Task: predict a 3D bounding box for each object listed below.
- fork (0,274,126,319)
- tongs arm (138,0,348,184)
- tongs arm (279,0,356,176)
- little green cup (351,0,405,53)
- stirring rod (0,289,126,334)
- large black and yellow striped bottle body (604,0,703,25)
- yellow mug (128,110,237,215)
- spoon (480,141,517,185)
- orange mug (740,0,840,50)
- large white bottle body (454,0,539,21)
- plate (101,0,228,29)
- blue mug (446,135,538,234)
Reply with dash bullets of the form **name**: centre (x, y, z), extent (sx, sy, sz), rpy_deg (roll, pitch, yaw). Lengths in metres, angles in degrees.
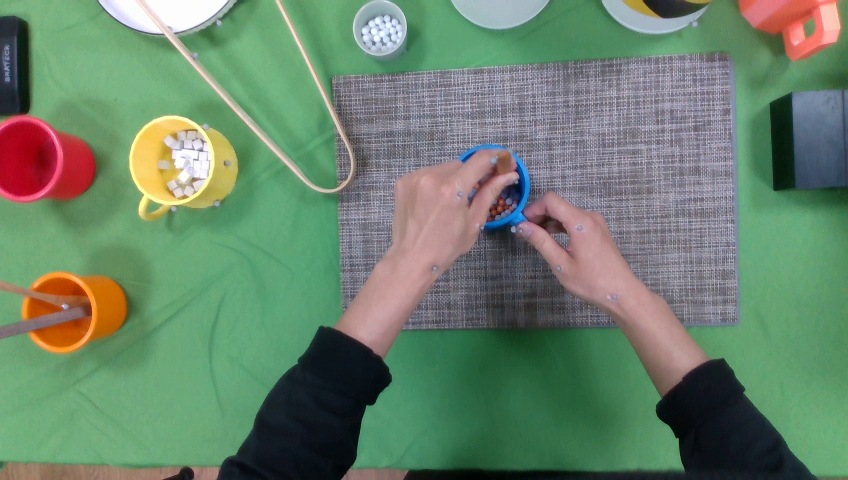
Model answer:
- **fork**: centre (-0.443, 0.052, 0.680), extent (0.209, 0.018, 0.028), rpy_deg (26, 89, -39)
- **tongs arm**: centre (-0.232, -0.204, 0.690), extent (0.051, 0.026, 0.385), rpy_deg (-41, 95, 2)
- **tongs arm**: centre (-0.163, -0.253, 0.685), extent (0.028, 0.027, 0.388), rpy_deg (-27, 96, -3)
- **little green cup**: centre (-0.050, -0.244, 0.691), extent (0.061, 0.038, 0.061), rpy_deg (0, 92, 5)
- **stirring rod**: centre (-0.432, 0.086, 0.686), extent (0.177, 0.006, 0.014), rpy_deg (-17, 85, -36)
- **large black and yellow striped bottle body**: centre (0.246, -0.302, 0.589), extent (0.130, 0.184, 0.130), rpy_deg (0, 91, 6)
- **yellow mug**: centre (-0.287, -0.082, 0.704), extent (0.100, 0.064, 0.131), rpy_deg (37, 96, 3)
- **spoon**: centre (0.074, -0.071, 0.578), extent (0.041, 0.194, 0.021), rpy_deg (-17, 90, 5)
- **orange mug**: centre (0.388, -0.265, 0.620), extent (0.083, 0.101, 0.126), rpy_deg (-12, 86, 6)
- **large white bottle body**: centre (0.075, -0.314, 0.604), extent (0.130, 0.185, 0.130), rpy_deg (0, 91, 6)
- **plate**: centre (-0.299, -0.350, 0.711), extent (0.207, 0.039, 0.207), rpy_deg (0, 92, 5)
- **blue mug**: centre (0.080, -0.050, 0.647), extent (0.082, 0.106, 0.116), rpy_deg (-44, 87, 5)
